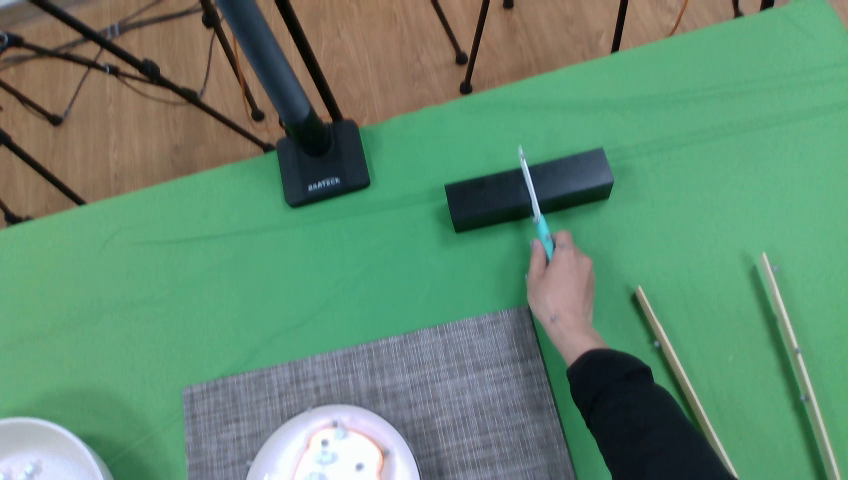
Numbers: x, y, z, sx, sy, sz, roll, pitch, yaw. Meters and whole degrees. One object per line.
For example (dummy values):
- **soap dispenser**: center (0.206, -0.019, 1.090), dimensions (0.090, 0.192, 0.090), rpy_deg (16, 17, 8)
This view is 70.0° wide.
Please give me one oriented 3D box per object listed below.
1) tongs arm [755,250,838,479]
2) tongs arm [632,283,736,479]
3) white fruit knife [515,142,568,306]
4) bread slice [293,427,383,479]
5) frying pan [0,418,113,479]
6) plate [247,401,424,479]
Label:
- **tongs arm**: center (0.397, 0.197, 0.645), dimensions (0.051, 0.027, 0.382), rpy_deg (-11, 70, 5)
- **tongs arm**: center (0.321, 0.218, 0.653), dimensions (0.028, 0.028, 0.384), rpy_deg (-22, 69, -2)
- **white fruit knife**: center (0.139, -0.022, 0.733), dimensions (0.016, 0.027, 0.206), rpy_deg (-14, 80, -6)
- **bread slice**: center (-0.103, 0.283, 0.689), dimensions (0.107, 0.018, 0.133), rpy_deg (9, 73, 11)
- **frying pan**: center (-0.457, 0.445, 0.652), dimensions (0.307, 0.104, 0.483), rpy_deg (-18, 60, 3)
- **plate**: center (-0.098, 0.289, 0.684), dimensions (0.207, 0.039, 0.206), rpy_deg (-3, 70, 8)
